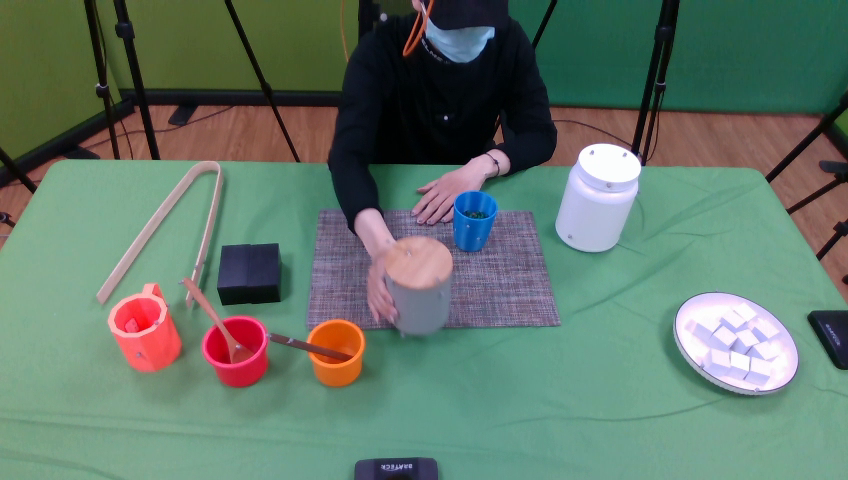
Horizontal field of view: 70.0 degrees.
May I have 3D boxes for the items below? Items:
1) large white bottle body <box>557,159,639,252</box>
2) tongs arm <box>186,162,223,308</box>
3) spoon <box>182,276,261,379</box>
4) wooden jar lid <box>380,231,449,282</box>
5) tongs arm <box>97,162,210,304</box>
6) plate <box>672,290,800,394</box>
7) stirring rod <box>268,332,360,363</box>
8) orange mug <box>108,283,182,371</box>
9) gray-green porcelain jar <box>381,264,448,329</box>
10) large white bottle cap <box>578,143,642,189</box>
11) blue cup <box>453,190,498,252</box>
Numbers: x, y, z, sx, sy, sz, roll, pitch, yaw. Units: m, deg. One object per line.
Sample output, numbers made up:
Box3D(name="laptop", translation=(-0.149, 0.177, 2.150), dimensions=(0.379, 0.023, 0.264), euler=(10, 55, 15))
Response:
Box3D(name="large white bottle body", translation=(0.340, -0.081, 1.185), dimensions=(0.131, 0.185, 0.130), euler=(2, 46, -1))
Box3D(name="tongs arm", translation=(-0.436, -0.024, 1.181), dimensions=(0.051, 0.026, 0.382), euler=(-2, 45, -1))
Box3D(name="spoon", translation=(-0.321, 0.137, 0.957), dimensions=(0.041, 0.021, 0.194), euler=(-36, 102, -32))
Box3D(name="wooden jar lid", translation=(-0.015, 0.029, 0.953), dimensions=(0.108, 0.021, 0.107), euler=(1, 46, -1))
Box3D(name="tongs arm", translation=(-0.519, -0.029, 1.183), dimensions=(0.028, 0.028, 0.385), euler=(6, 45, 12))
Box3D(name="plate", translation=(0.533, 0.179, 1.050), dimensions=(0.208, 0.039, 0.206), euler=(2, 46, -2))
Box3D(name="stirring rod", translation=(-0.167, 0.169, 0.942), dimensions=(0.177, 0.006, 0.014), euler=(26, 29, -41))
Box3D(name="orange mug", translation=(-0.445, 0.134, 0.982), dimensions=(0.083, 0.101, 0.125), euler=(-1, 50, -5))
Box3D(name="gray-green porcelain jar", translation=(-0.016, 0.075, 0.994), dimensions=(0.106, 0.127, 0.105), euler=(1, 42, -1))
Box3D(name="large white bottle cap", translation=(0.344, -0.139, 1.123), dimensions=(0.115, 0.018, 0.114), euler=(2, 46, -2))
Box3D(name="blue cup", translation=(0.094, -0.032, 1.173), dimensions=(0.093, 0.101, 0.092), euler=(3, 45, -3))
